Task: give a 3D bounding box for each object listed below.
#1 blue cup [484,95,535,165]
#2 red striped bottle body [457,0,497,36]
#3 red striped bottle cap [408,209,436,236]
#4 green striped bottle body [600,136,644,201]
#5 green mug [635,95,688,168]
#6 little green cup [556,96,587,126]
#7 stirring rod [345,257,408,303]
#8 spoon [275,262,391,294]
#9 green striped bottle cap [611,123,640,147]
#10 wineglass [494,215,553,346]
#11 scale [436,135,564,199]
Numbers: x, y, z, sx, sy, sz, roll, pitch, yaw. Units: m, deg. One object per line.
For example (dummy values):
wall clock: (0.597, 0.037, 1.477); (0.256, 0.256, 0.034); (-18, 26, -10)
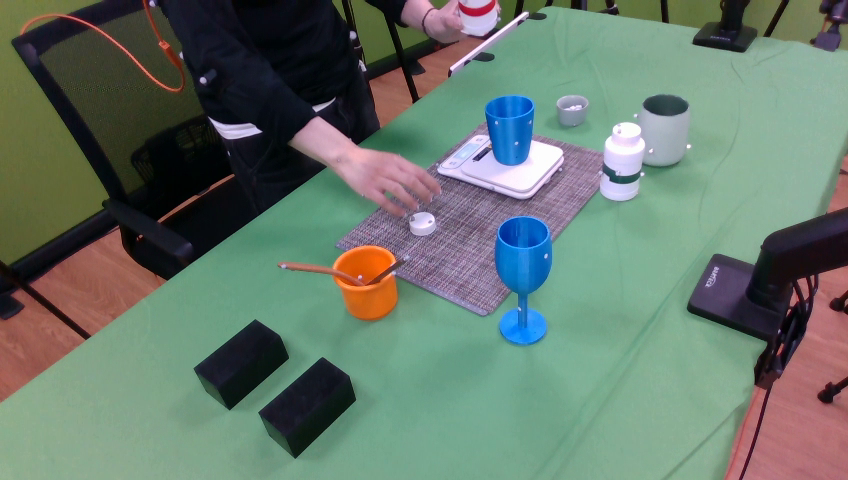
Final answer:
blue cup: (0.150, -0.188, 1.052); (0.092, 0.100, 0.092); (-5, 39, 5)
red striped bottle body: (0.084, -0.400, 0.990); (0.063, 0.120, 0.062); (-5, 60, 9)
red striped bottle cap: (-0.004, -0.029, 1.000); (0.044, 0.018, 0.044); (-5, 55, 8)
green striped bottle body: (0.326, -0.128, 0.997); (0.063, 0.120, 0.063); (-4, 41, 4)
green mug: (0.421, -0.201, 1.081); (0.092, 0.105, 0.125); (5, 42, 15)
little green cup: (0.295, -0.258, 1.214); (0.061, 0.039, 0.061); (-4, 42, 4)
stirring rod: (-0.067, 0.057, 0.815); (0.014, 0.175, 0.006); (-24, 82, -38)
spoon: (-0.120, 0.050, 0.830); (0.041, 0.195, 0.021); (30, 96, 45)
green striped bottle cap: (0.322, -0.168, 0.963); (0.044, 0.020, 0.044); (-3, 42, 3)
wineglass: (0.127, 0.055, 0.770); (0.074, 0.173, 0.073); (-4, 40, 4)
scale: (0.137, -0.142, 1.101); (0.199, 0.032, 0.149); (22, 48, 30)
